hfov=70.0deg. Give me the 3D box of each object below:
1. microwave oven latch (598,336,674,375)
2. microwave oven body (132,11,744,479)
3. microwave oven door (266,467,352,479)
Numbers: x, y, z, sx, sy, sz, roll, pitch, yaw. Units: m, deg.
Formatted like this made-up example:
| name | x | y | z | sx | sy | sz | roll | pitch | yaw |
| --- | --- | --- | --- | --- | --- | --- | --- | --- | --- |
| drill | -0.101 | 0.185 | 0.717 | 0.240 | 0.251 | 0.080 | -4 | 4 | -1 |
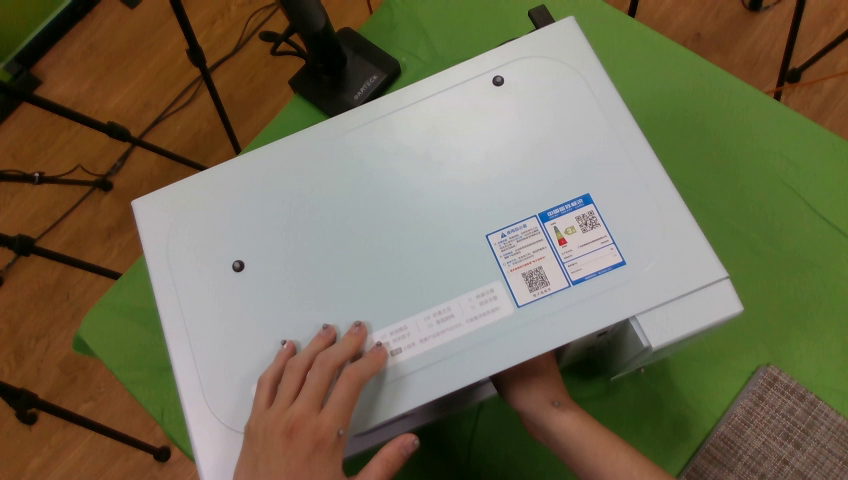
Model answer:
| name | x | y | z | sx | sy | sz | roll | pitch | yaw |
| --- | --- | --- | --- | --- | --- | --- | --- | --- | --- |
| microwave oven latch | 0.233 | 0.120 | 0.662 | 0.079 | 0.030 | 0.030 | -21 | 71 | 1 |
| microwave oven body | 0.002 | 0.032 | 0.620 | 0.442 | 0.262 | 0.323 | -23 | 71 | 0 |
| microwave oven door | 0.021 | 0.272 | 0.532 | 0.355 | 0.245 | 0.039 | 12 | 74 | 11 |
